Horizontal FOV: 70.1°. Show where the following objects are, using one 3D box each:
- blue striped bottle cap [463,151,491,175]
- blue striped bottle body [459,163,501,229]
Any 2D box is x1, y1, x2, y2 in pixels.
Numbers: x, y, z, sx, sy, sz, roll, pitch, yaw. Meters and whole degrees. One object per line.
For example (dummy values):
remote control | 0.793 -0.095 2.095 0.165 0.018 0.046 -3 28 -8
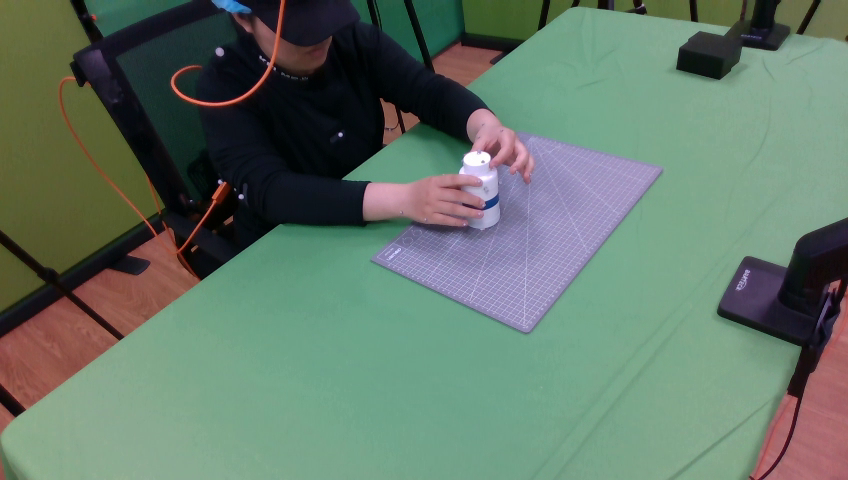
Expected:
blue striped bottle cap | 0.083 -0.121 0.949 0.044 0.021 0.044 -3 38 3
blue striped bottle body | 0.091 -0.083 0.982 0.063 0.121 0.063 -6 40 5
